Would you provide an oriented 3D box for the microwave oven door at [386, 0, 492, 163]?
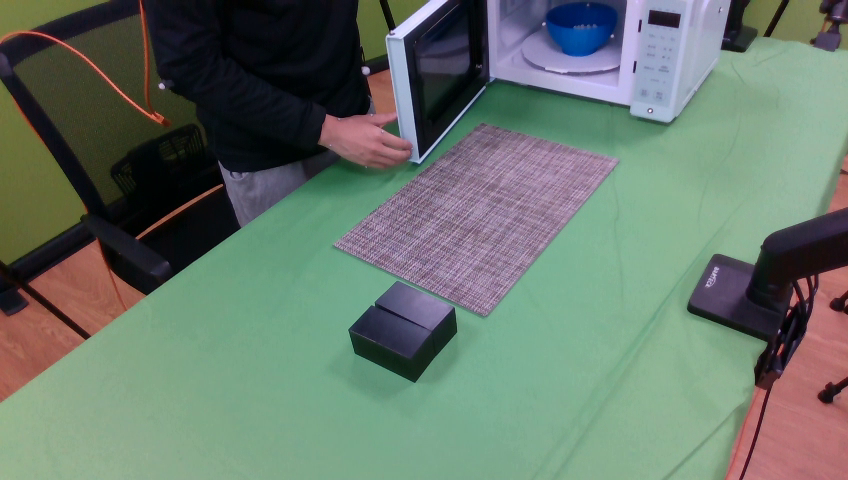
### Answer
[{"bbox_3d":[0.042,-0.346,1.172,0.039,0.245,0.356,14,45,24],"label":"microwave oven door"}]

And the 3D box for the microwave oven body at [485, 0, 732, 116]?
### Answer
[{"bbox_3d":[0.377,-0.462,1.267,0.438,0.261,0.327,21,49,30],"label":"microwave oven body"}]

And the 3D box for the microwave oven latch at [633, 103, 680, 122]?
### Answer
[{"bbox_3d":[0.443,-0.249,1.157,0.078,0.029,0.030,21,49,30],"label":"microwave oven latch"}]
